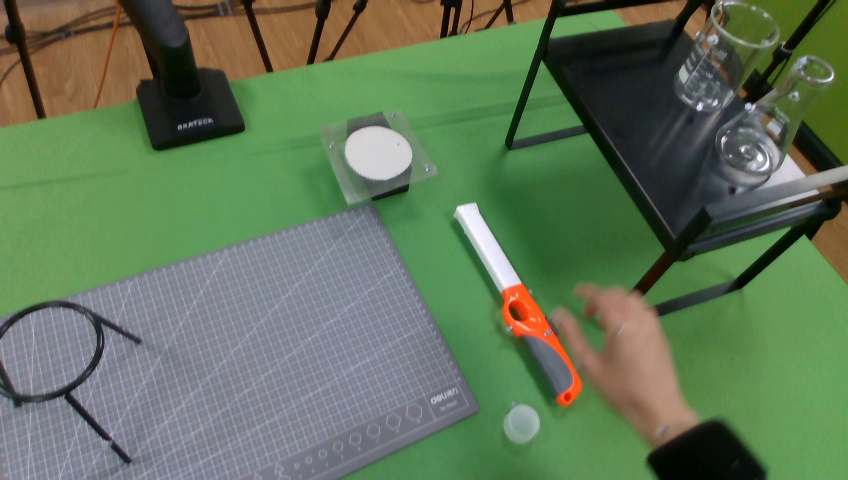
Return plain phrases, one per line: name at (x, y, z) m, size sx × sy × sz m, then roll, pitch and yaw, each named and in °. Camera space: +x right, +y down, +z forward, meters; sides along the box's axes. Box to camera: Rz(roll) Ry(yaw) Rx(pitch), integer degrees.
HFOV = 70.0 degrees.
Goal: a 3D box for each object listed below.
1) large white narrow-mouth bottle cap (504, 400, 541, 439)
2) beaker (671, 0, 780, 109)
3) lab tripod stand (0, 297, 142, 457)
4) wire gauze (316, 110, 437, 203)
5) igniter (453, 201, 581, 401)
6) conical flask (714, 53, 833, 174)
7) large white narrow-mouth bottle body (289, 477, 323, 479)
large white narrow-mouth bottle cap at (0.106, 0.193, 0.653) m, size 0.038 × 0.024 × 0.037 m, roll 4°, pitch 58°, yaw -5°
beaker at (0.328, -0.205, 0.675) m, size 0.074 × 0.101 × 0.083 m, roll -12°, pitch 60°, yaw -16°
lab tripod stand at (-0.320, 0.124, 0.557) m, size 0.149 × 0.132 × 0.147 m, roll 5°, pitch 57°, yaw -8°
wire gauze at (-0.062, -0.112, 0.767) m, size 0.122 × 0.011 × 0.124 m, roll -17°, pitch 63°, yaw -19°
igniter at (0.109, 0.064, 0.729) m, size 0.057 × 0.025 × 0.274 m, roll -13°, pitch 61°, yaw -29°
conical flask at (0.361, -0.132, 0.620) m, size 0.075 × 0.123 × 0.074 m, roll 4°, pitch 57°, yaw -6°
large white narrow-mouth bottle body at (-0.096, 0.246, 0.483) m, size 0.102 × 0.196 × 0.101 m, roll 3°, pitch 57°, yaw -5°
